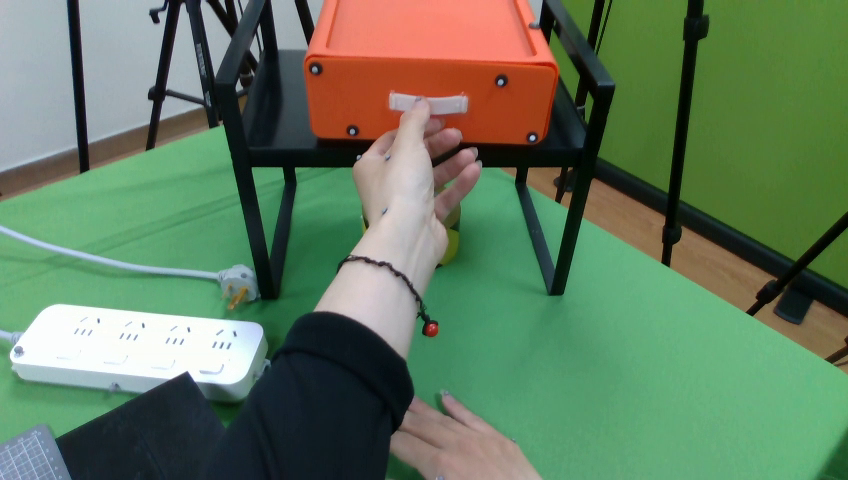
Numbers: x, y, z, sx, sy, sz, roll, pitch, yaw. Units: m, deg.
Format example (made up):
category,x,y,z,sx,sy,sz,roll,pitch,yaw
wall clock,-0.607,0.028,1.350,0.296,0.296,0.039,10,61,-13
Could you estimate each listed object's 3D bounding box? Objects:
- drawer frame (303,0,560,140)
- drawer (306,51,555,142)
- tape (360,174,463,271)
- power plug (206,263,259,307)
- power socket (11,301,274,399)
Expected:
category,x,y,z,sx,sy,sz,roll,pitch,yaw
drawer frame,0.003,-0.180,0.566,0.202,0.083,0.211,0,40,-3
drawer,0.004,-0.175,0.563,0.195,0.074,0.209,1,40,-2
tape,-0.014,-0.022,0.679,0.117,0.053,0.115,2,41,-1
power plug,-0.198,0.050,0.613,0.072,0.035,0.052,-23,27,30
power socket,-0.249,0.097,0.542,0.226,0.033,0.071,5,40,3
